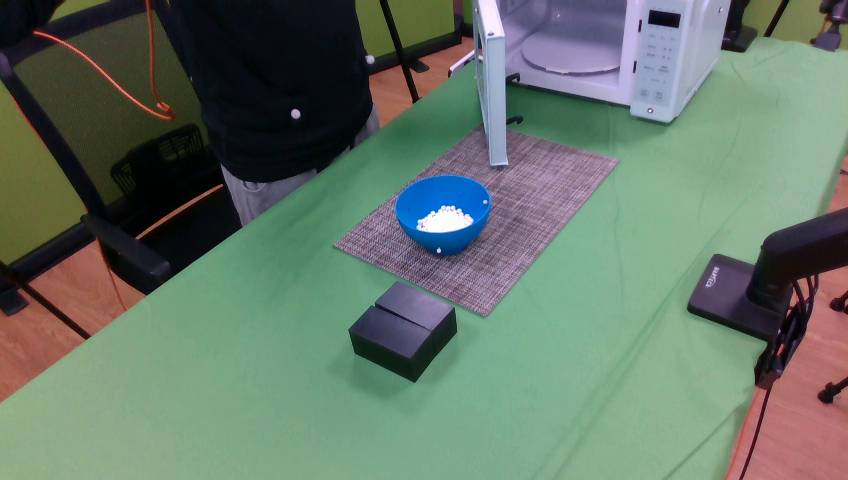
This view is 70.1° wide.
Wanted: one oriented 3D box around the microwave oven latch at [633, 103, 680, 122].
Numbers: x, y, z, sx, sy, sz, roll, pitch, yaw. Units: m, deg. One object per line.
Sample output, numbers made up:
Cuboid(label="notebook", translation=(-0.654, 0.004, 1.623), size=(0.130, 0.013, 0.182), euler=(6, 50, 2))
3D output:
Cuboid(label="microwave oven latch", translation=(0.443, -0.249, 1.157), size=(0.078, 0.029, 0.030), euler=(21, 48, 30))

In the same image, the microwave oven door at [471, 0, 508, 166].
Cuboid(label="microwave oven door", translation=(0.122, -0.340, 1.153), size=(0.039, 0.245, 0.354), euler=(-5, 40, 3))

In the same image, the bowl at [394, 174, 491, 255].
Cuboid(label="bowl", translation=(0.032, -0.030, 0.949), size=(0.151, 0.077, 0.150), euler=(-4, 40, 4))

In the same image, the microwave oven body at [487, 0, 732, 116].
Cuboid(label="microwave oven body", translation=(0.377, -0.462, 1.267), size=(0.438, 0.261, 0.327), euler=(21, 48, 30))
